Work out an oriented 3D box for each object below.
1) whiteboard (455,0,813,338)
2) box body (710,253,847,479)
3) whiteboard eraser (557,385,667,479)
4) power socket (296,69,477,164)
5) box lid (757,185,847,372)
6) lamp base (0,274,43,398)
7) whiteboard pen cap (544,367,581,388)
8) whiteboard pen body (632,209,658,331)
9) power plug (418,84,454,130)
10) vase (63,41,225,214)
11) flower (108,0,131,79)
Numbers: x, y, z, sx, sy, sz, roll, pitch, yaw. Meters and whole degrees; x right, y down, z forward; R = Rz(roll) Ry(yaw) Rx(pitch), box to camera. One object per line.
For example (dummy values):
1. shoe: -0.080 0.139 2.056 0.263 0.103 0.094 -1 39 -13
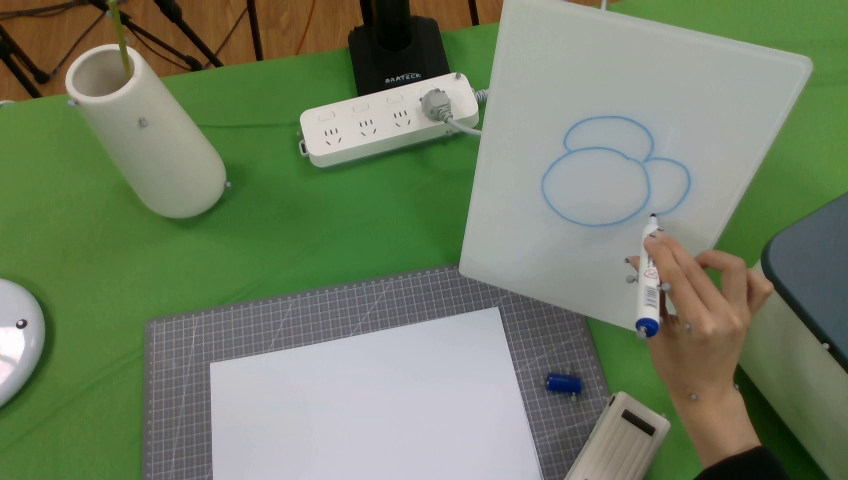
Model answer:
1. whiteboard: 0.170 -0.084 0.569 0.216 0.308 0.143 18 45 12
2. box body: 0.460 0.121 0.502 0.254 0.161 0.361 -27 66 -11
3. whiteboard eraser: 0.167 0.191 0.544 0.055 0.042 0.112 32 69 17
4. power socket: -0.043 -0.149 0.726 0.227 0.033 0.071 -15 65 -6
5. box lid: 0.456 0.086 0.436 0.263 0.015 0.368 -27 66 -10
6. lamp base: -0.489 0.068 0.555 0.178 0.182 0.160 19 66 15
7. whiteboard pen cap: 0.134 0.134 0.587 0.033 0.018 0.018 7 64 3
8. whiteboard pen body: 0.171 0.016 0.467 0.017 0.017 0.140 15 42 10
9. power plug: 0.013 -0.147 0.698 0.035 0.053 0.072 -6 70 -1
10. vase: -0.281 -0.108 0.623 0.098 0.201 0.097 -1 63 3
11. flower: -0.264 -0.141 0.547 0.038 0.363 0.044 38 61 1
